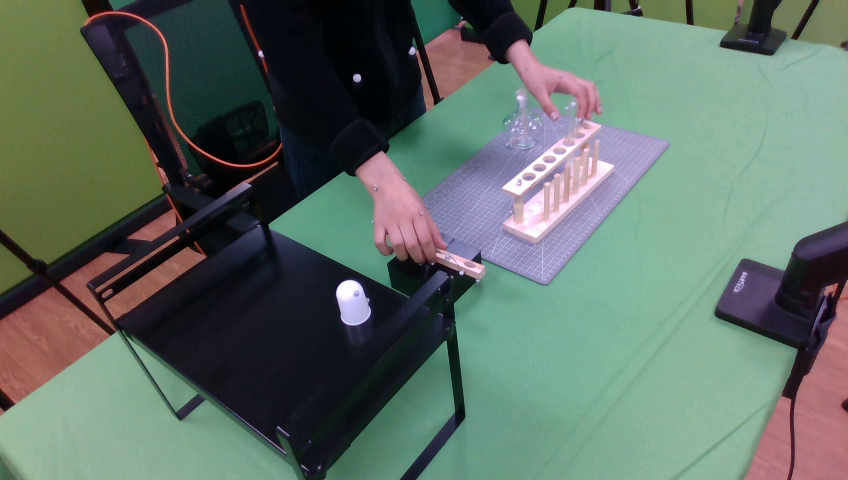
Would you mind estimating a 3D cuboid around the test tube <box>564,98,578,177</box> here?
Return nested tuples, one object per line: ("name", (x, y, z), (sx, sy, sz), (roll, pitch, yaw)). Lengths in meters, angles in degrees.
("test tube", (0.244, -0.166, 1.004), (0.017, 0.151, 0.017), (-5, 42, 5))

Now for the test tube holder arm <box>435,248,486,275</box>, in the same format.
("test tube holder arm", (0.049, 0.032, 0.859), (0.087, 0.015, 0.010), (20, 41, 31))

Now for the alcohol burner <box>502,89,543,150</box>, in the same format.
("alcohol burner", (0.186, -0.233, 1.147), (0.078, 0.119, 0.077), (-5, 42, 5))

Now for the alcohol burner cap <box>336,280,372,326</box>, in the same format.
("alcohol burner cap", (-0.073, 0.061, 0.619), (0.034, 0.048, 0.033), (-4, 41, 4))

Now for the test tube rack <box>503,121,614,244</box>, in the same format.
("test tube rack", (0.230, -0.101, 1.006), (0.066, 0.085, 0.243), (26, 50, 34))

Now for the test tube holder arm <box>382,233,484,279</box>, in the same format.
("test tube holder arm", (0.009, 0.021, 0.878), (0.177, 0.015, 0.013), (19, 41, 30))
